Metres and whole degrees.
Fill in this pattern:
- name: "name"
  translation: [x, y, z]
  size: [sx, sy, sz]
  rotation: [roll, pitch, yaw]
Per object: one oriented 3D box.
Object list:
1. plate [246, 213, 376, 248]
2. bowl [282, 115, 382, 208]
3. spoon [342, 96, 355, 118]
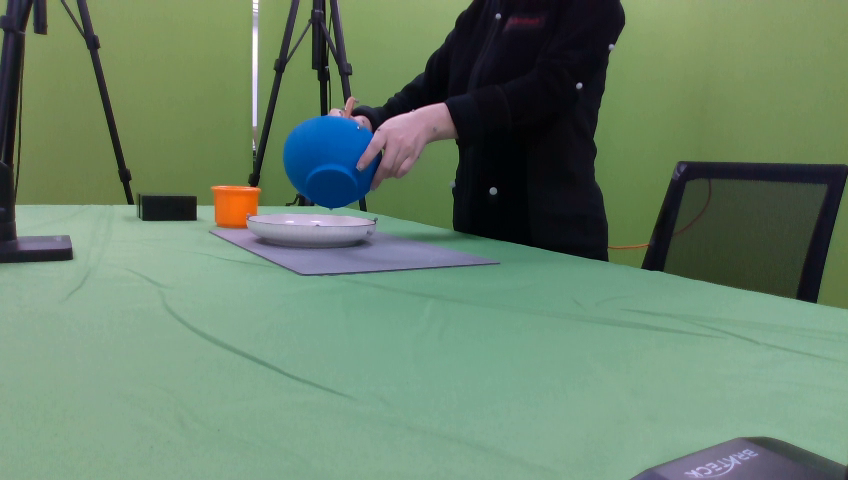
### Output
- name: "plate"
  translation: [-0.185, -0.017, 0.994]
  size: [0.209, 0.038, 0.209]
  rotation: [3, 8, 0]
- name: "bowl"
  translation: [-0.136, -0.100, 0.889]
  size: [0.152, 0.151, 0.076]
  rotation: [1, 44, -7]
- name: "spoon"
  translation: [-0.144, -0.162, 0.996]
  size: [0.041, 0.193, 0.021]
  rotation: [11, -30, 1]
